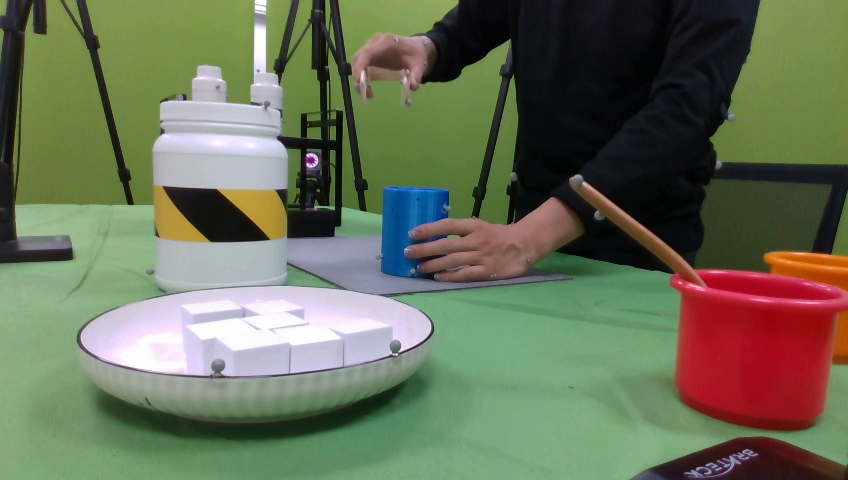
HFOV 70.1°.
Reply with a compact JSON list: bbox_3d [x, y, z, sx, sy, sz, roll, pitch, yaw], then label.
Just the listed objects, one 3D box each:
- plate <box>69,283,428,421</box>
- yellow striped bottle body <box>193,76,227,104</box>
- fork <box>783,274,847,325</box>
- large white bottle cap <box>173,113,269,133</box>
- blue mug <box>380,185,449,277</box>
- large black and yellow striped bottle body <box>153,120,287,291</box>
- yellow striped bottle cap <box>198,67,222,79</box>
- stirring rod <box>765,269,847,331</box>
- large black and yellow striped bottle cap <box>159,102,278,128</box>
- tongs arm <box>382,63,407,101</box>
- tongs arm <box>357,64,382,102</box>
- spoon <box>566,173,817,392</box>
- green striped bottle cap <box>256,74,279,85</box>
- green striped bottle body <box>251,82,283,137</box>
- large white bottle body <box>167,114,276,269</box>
[{"bbox_3d":[-0.102,0.066,0.381,0.208,0.039,0.207,2,7,0],"label":"plate"},{"bbox_3d":[-0.414,-0.268,1.169,0.063,0.120,0.063,2,7,0],"label":"yellow striped bottle body"},{"bbox_3d":[0.332,0.018,0.443,0.028,0.018,0.207,-1,-36,-15],"label":"fork"},{"bbox_3d":[-0.254,-0.146,0.760,0.115,0.018,0.115,1,7,0],"label":"large white bottle cap"},{"bbox_3d":[-0.019,-0.016,0.763,0.083,0.106,0.116,-2,8,-26],"label":"blue mug"},{"bbox_3d":[-0.208,-0.042,0.626,0.131,0.184,0.130,2,7,0],"label":"large black and yellow striped bottle body"},{"bbox_3d":[-0.411,-0.320,1.163,0.044,0.018,0.044,0,7,0],"label":"yellow striped bottle cap"},{"bbox_3d":[0.352,0.020,0.484,0.176,0.006,0.014,-40,-6,13],"label":"stirring rod"},{"bbox_3d":[-0.207,-0.125,0.615,0.115,0.019,0.115,2,6,0],"label":"large black and yellow striped bottle cap"},{"bbox_3d":[-0.045,-0.217,0.812,0.051,0.026,0.384,-1,18,1],"label":"tongs arm"},{"bbox_3d":[-0.073,-0.216,0.810,0.028,0.028,0.387,-6,18,-1],"label":"tongs arm"},{"bbox_3d":[0.161,0.024,0.370,0.193,0.021,0.042,47,18,3],"label":"spoon"},{"bbox_3d":[-0.314,-0.321,1.214,0.044,0.020,0.044,3,9,0],"label":"green striped bottle cap"},{"bbox_3d":[-0.317,-0.270,1.220,0.063,0.119,0.063,2,7,0],"label":"green striped bottle body"},{"bbox_3d":[-0.256,-0.063,0.772,0.131,0.184,0.130,2,7,0],"label":"large white bottle body"}]
